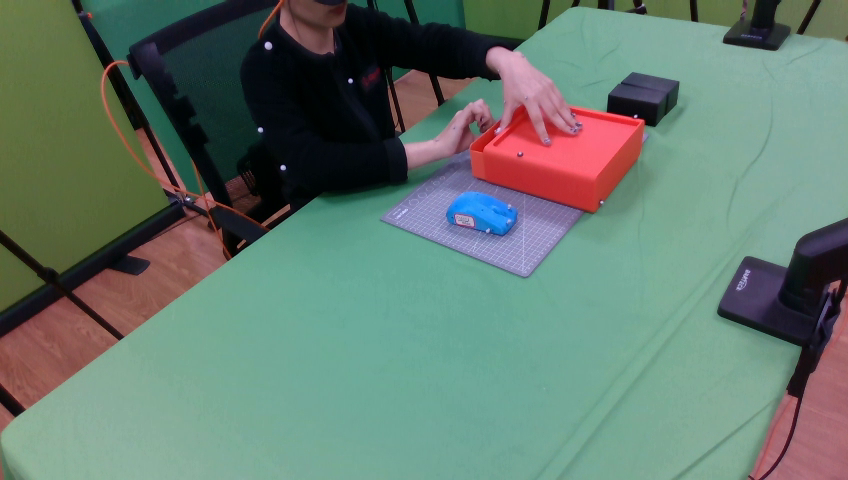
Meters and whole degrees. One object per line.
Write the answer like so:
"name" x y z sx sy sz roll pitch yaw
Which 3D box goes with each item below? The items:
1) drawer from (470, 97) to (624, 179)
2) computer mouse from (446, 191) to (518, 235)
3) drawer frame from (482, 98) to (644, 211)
"drawer" 0.221 -0.166 1.087 0.210 0.073 0.195 21 48 30
"computer mouse" 0.097 -0.048 1.004 0.116 0.041 0.063 18 45 23
"drawer frame" 0.246 -0.158 1.071 0.212 0.083 0.202 21 48 30
